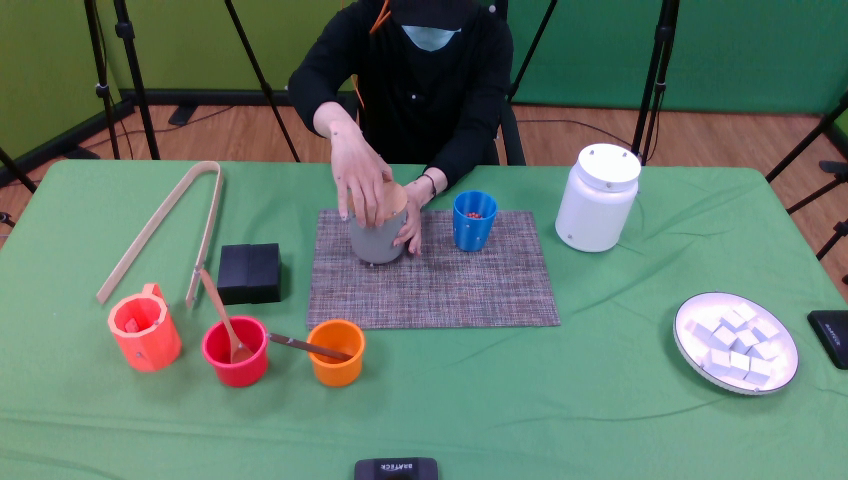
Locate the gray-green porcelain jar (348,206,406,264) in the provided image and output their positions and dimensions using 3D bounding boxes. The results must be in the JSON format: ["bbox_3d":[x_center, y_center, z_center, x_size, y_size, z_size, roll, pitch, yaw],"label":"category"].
[{"bbox_3d":[-0.087,-0.026,1.138,0.106,0.127,0.105,2,46,-2],"label":"gray-green porcelain jar"}]

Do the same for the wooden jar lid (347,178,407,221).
[{"bbox_3d":[-0.084,-0.069,1.093,0.108,0.021,0.107,0,48,0],"label":"wooden jar lid"}]

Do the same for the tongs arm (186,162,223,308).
[{"bbox_3d":[-0.436,-0.024,1.181,0.051,0.027,0.382,-3,45,0],"label":"tongs arm"}]

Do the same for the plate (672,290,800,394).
[{"bbox_3d":[0.533,0.178,1.050,0.208,0.039,0.206,2,46,-2],"label":"plate"}]

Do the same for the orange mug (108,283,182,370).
[{"bbox_3d":[-0.446,0.134,0.982,0.083,0.101,0.125,-1,51,-5],"label":"orange mug"}]

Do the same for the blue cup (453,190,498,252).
[{"bbox_3d":[0.093,-0.032,1.174,0.093,0.101,0.092,3,45,-3],"label":"blue cup"}]

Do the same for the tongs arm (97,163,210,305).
[{"bbox_3d":[-0.520,-0.027,1.184,0.028,0.028,0.385,5,45,13],"label":"tongs arm"}]

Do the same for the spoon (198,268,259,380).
[{"bbox_3d":[-0.313,0.133,0.962,0.041,0.021,0.194,-24,96,-21],"label":"spoon"}]

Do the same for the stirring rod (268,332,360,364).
[{"bbox_3d":[-0.167,0.169,0.941,0.177,0.006,0.014,26,26,-40],"label":"stirring rod"}]

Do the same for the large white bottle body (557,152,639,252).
[{"bbox_3d":[0.340,-0.081,1.184,0.131,0.185,0.130,2,46,-1],"label":"large white bottle body"}]

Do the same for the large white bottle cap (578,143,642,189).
[{"bbox_3d":[0.344,-0.139,1.123,0.115,0.018,0.114,2,46,-2],"label":"large white bottle cap"}]
